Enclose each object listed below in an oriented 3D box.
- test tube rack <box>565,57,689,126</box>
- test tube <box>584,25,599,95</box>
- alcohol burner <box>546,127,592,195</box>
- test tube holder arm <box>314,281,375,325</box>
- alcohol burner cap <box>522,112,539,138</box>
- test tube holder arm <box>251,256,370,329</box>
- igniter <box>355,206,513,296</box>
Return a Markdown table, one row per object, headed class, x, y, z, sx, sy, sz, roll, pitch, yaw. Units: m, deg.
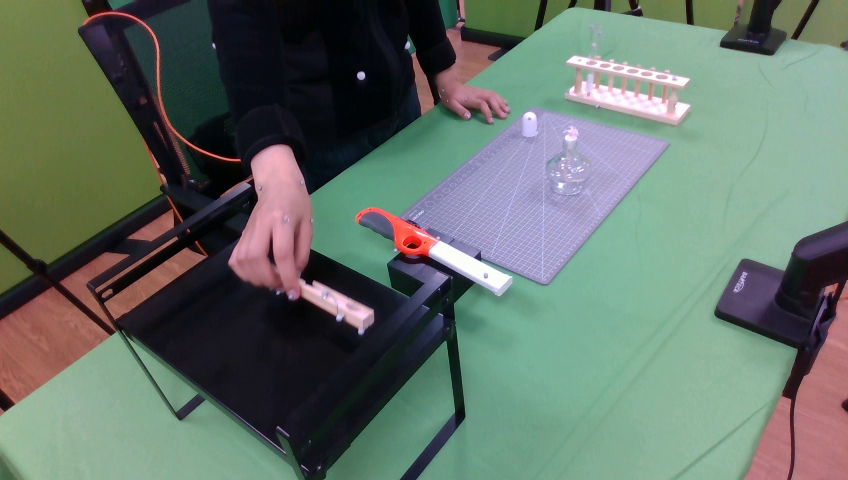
| class | x | y | z | sx | sy | sz | roll | pitch | yaw |
| --- | --- | --- | --- | --- | --- | --- | --- | --- | --- |
| test tube rack | 0.412 | -0.311 | 1.230 | 0.240 | 0.085 | 0.067 | 23 | 49 | 32 |
| test tube | 0.339 | -0.361 | 1.224 | 0.017 | 0.151 | 0.017 | -4 | 45 | 4 |
| alcohol burner | 0.247 | -0.137 | 1.023 | 0.078 | 0.119 | 0.077 | -4 | 38 | 4 |
| test tube holder arm | -0.083 | 0.062 | 0.602 | 0.087 | 0.015 | 0.010 | 22 | 29 | 34 |
| alcohol burner cap | 0.210 | -0.230 | 1.195 | 0.034 | 0.048 | 0.033 | -6 | 41 | 6 |
| test tube holder arm | -0.122 | 0.050 | 0.622 | 0.177 | 0.015 | 0.013 | 21 | 29 | 33 |
| igniter | 0.006 | 0.009 | 0.885 | 0.274 | 0.025 | 0.057 | 27 | 54 | 30 |
